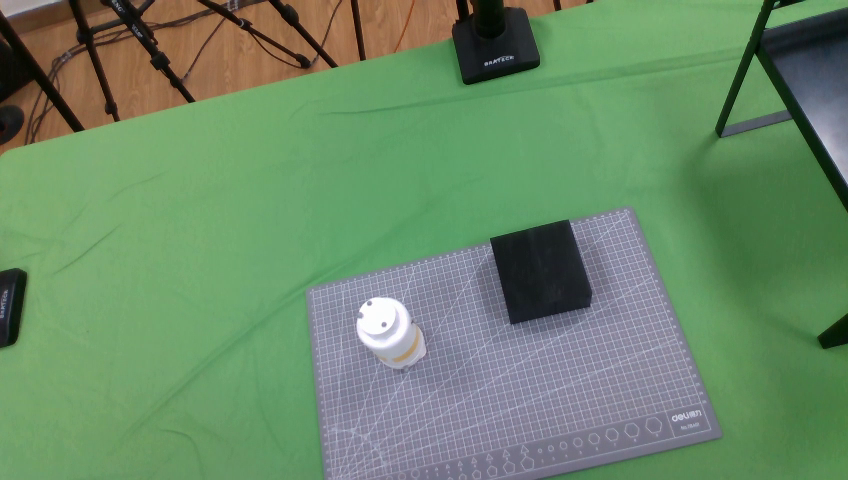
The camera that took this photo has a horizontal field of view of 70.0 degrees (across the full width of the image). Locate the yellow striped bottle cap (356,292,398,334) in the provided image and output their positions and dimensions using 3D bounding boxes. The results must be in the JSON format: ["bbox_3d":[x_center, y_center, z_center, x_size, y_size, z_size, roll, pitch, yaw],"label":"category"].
[{"bbox_3d":[-0.052,0.080,0.670,0.044,0.019,0.044,-5,67,12],"label":"yellow striped bottle cap"}]

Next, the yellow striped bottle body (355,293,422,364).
[{"bbox_3d":[-0.043,0.103,0.716,0.063,0.121,0.062,-4,65,9],"label":"yellow striped bottle body"}]
